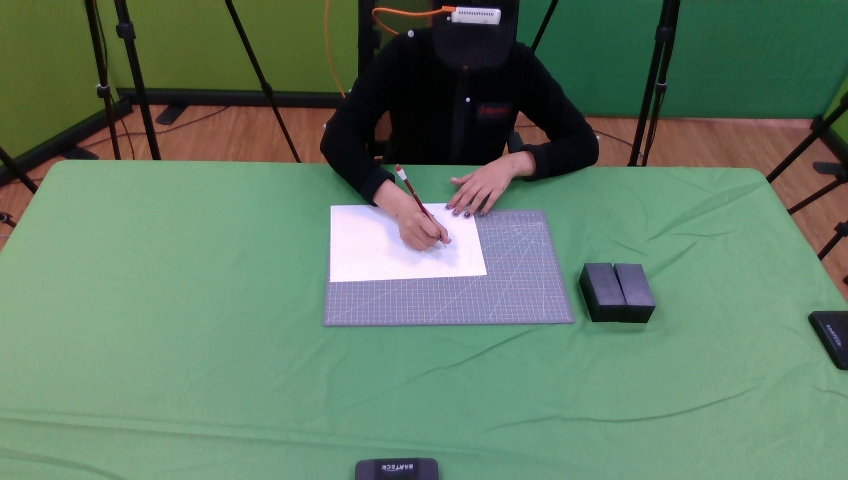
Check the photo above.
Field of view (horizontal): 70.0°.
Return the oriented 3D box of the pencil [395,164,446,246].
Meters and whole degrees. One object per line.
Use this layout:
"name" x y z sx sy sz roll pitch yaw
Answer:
"pencil" -0.004 -0.063 1.159 0.012 0.195 0.012 -27 24 13
